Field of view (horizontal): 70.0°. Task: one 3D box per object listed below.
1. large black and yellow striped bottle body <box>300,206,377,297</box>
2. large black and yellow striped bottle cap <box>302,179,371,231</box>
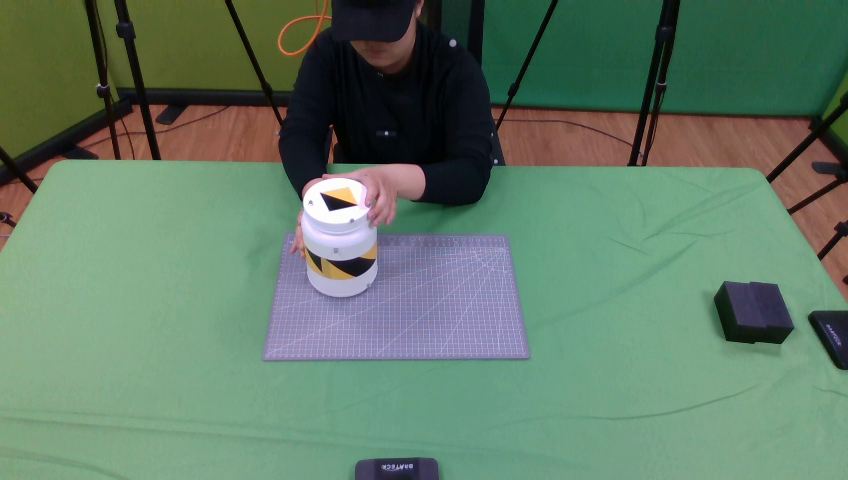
[{"bbox_3d":[-0.149,-0.002,1.073,0.131,0.185,0.130,2,46,-2],"label":"large black and yellow striped bottle body"},{"bbox_3d":[-0.145,-0.061,1.011,0.115,0.019,0.114,3,45,-3],"label":"large black and yellow striped bottle cap"}]
